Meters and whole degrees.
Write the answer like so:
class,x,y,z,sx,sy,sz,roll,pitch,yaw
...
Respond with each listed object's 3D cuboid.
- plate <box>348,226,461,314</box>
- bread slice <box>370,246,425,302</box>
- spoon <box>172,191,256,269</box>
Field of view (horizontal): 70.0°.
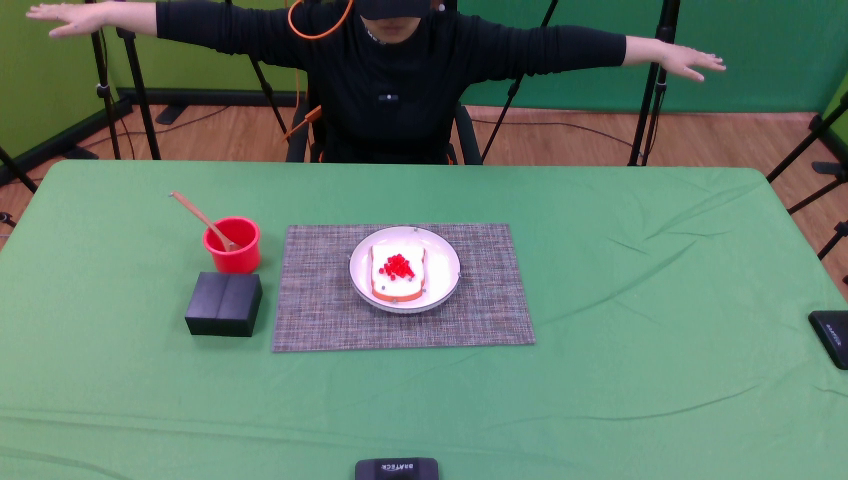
class,x,y,z,sx,sy,sz,roll,pitch,yaw
plate,-0.035,0.058,1.123,0.209,0.038,0.208,2,46,-2
bread slice,-0.048,0.060,1.123,0.105,0.019,0.130,0,45,-3
spoon,-0.382,-0.019,1.104,0.194,0.021,0.041,50,47,-17
